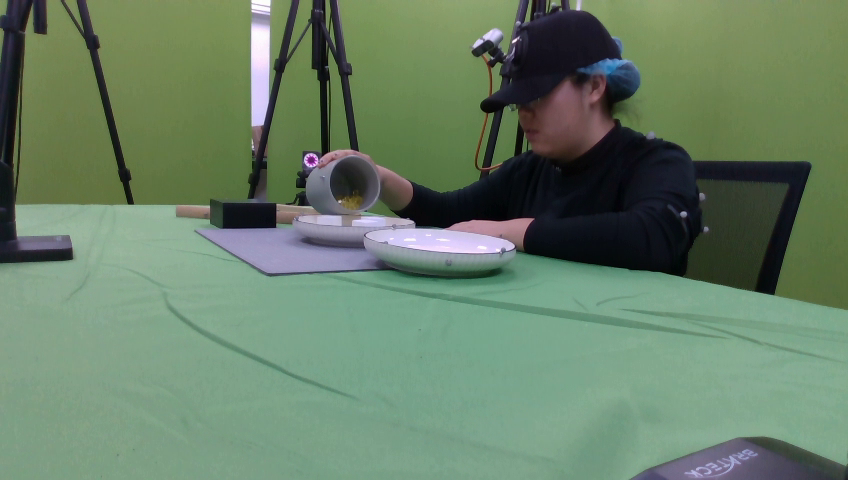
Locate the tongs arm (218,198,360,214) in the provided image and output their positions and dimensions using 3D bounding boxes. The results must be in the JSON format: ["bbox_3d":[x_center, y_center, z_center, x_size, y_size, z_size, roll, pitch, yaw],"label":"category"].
[{"bbox_3d":[-0.312,-0.064,1.352,0.384,0.026,0.051,6,9,17],"label":"tongs arm"}]

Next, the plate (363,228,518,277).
[{"bbox_3d":[0.021,0.016,0.817,0.209,0.038,0.209,4,9,0],"label":"plate"}]

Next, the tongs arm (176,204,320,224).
[{"bbox_3d":[-0.332,-0.052,1.273,0.387,0.028,0.028,4,5,4],"label":"tongs arm"}]

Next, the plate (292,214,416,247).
[{"bbox_3d":[-0.118,-0.017,1.024,0.208,0.039,0.207,2,8,0],"label":"plate"}]

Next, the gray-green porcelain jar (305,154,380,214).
[{"bbox_3d":[-0.157,-0.099,1.133,0.106,0.105,0.126,-2,-1,-32],"label":"gray-green porcelain jar"}]
